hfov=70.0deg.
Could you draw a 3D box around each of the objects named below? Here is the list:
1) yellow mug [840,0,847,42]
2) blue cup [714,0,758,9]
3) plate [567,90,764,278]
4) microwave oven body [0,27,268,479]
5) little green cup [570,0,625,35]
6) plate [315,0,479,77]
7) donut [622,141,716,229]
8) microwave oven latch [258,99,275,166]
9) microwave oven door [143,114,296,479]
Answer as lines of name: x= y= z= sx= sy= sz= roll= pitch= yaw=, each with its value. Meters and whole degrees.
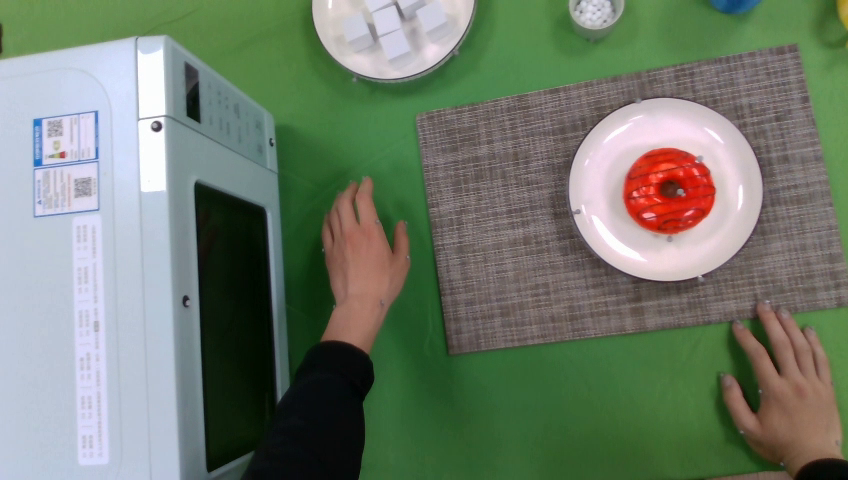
yellow mug: x=0.506 y=-0.265 z=0.651 sx=0.099 sy=0.064 sz=0.131 roll=40 pitch=93 yaw=10
blue cup: x=0.356 y=-0.303 z=0.661 sx=0.092 sy=0.100 sz=0.092 roll=-1 pitch=86 yaw=9
plate: x=0.266 y=-0.061 z=0.683 sx=0.209 sy=0.038 sz=0.208 roll=-1 pitch=85 yaw=10
microwave oven body: x=-0.351 y=0.048 z=0.663 sx=0.325 sy=0.261 sz=0.440 roll=-6 pitch=85 yaw=9
little green cup: x=0.203 y=-0.275 z=0.716 sx=0.061 sy=0.039 sz=0.061 roll=-1 pitch=84 yaw=10
plate: x=-0.032 y=-0.301 z=0.757 sx=0.207 sy=0.039 sz=0.207 roll=-1 pitch=85 yaw=9
donut: x=0.270 y=-0.060 z=0.672 sx=0.099 sy=0.048 sz=0.099 roll=-1 pitch=85 yaw=12
microwave oven latch: x=-0.203 y=-0.133 z=0.752 sx=0.030 sy=0.029 sz=0.079 roll=-4 pitch=85 yaw=9
microwave oven door: x=-0.204 y=0.075 z=0.631 sx=0.039 sy=0.245 sz=0.355 roll=-6 pitch=84 yaw=10
